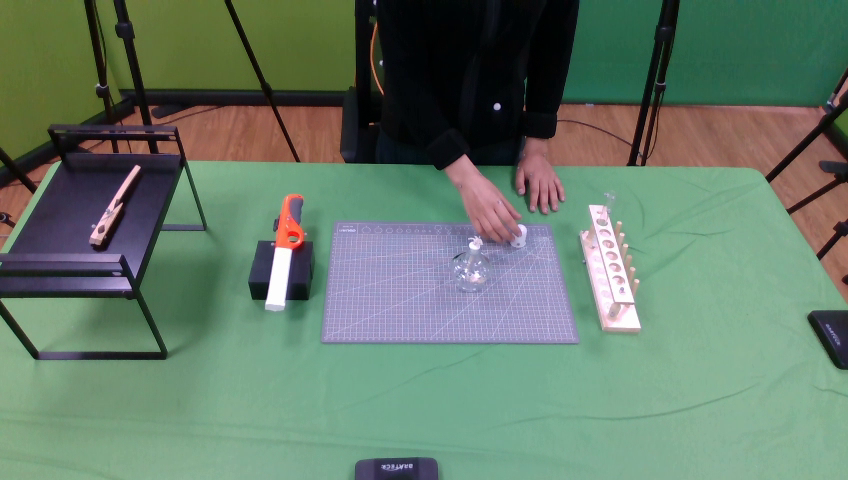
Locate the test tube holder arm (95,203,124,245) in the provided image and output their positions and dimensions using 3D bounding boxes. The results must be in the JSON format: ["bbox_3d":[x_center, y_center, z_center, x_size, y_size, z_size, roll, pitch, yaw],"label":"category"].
[{"bbox_3d":[-0.488,-0.027,0.940,0.010,0.015,0.087,29,38,-23],"label":"test tube holder arm"}]

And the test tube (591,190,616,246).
[{"bbox_3d":[0.338,-0.038,1.149,0.017,0.151,0.017,0,51,0],"label":"test tube"}]

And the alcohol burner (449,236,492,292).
[{"bbox_3d":[0.087,0.038,1.101,0.078,0.119,0.077,3,44,-2],"label":"alcohol burner"}]

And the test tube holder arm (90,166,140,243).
[{"bbox_3d":[-0.492,-0.061,0.971,0.013,0.015,0.177,28,38,-24],"label":"test tube holder arm"}]

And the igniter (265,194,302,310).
[{"bbox_3d":[-0.253,0.012,1.099,0.057,0.025,0.274,9,46,-13],"label":"igniter"}]

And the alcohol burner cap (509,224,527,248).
[{"bbox_3d":[0.189,-0.011,1.206,0.034,0.048,0.033,2,44,-1],"label":"alcohol burner cap"}]

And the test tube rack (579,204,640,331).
[{"bbox_3d":[0.353,0.047,1.137,0.067,0.085,0.241,2,46,-2],"label":"test tube rack"}]
